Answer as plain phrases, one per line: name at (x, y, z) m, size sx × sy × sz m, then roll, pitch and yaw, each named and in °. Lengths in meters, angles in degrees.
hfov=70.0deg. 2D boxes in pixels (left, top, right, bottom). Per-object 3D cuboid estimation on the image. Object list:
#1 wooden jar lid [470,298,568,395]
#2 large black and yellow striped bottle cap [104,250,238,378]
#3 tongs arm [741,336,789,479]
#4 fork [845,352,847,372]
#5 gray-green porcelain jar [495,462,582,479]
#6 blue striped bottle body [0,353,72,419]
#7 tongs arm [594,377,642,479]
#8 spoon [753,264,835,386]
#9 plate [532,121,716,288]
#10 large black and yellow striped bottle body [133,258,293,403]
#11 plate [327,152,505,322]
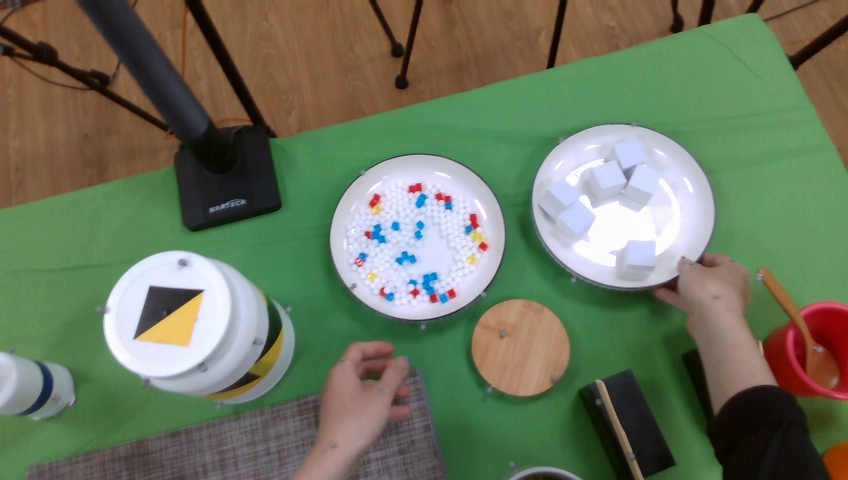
wooden jar lid at (0.105, 0.119, 0.678) m, size 0.108 × 0.021 × 0.108 m, roll -1°, pitch 73°, yaw 4°
large black and yellow striped bottle cap at (-0.225, 0.065, 0.540) m, size 0.115 × 0.019 × 0.114 m, roll -1°, pitch 73°, yaw 3°
tongs arm at (0.337, 0.286, 0.571) m, size 0.028 × 0.028 × 0.386 m, roll -5°, pitch 81°, yaw -5°
fork at (0.416, 0.184, 0.569) m, size 0.028 × 0.018 × 0.209 m, roll -25°, pitch 116°, yaw 4°
gray-green porcelain jar at (0.108, 0.266, 0.573) m, size 0.106 × 0.127 × 0.105 m, roll -1°, pitch 71°, yaw 3°
blue striped bottle body at (-0.440, 0.156, 0.645) m, size 0.063 × 0.121 × 0.062 m, roll -1°, pitch 71°, yaw 3°
tongs arm at (0.255, 0.307, 0.568) m, size 0.051 × 0.026 × 0.383 m, roll -19°, pitch 82°, yaw -4°
spoon at (0.373, 0.085, 0.608) m, size 0.041 × 0.021 × 0.195 m, roll -50°, pitch 120°, yaw -13°
plate at (0.230, -0.040, 0.713) m, size 0.207 × 0.039 × 0.206 m, roll -1°, pitch 72°, yaw 4°
large black and yellow striped bottle body at (-0.220, 0.094, 0.620) m, size 0.131 × 0.185 × 0.130 m, roll -1°, pitch 71°, yaw 4°
plate at (-0.009, -0.004, 0.716) m, size 0.209 × 0.038 × 0.208 m, roll -1°, pitch 72°, yaw 4°
